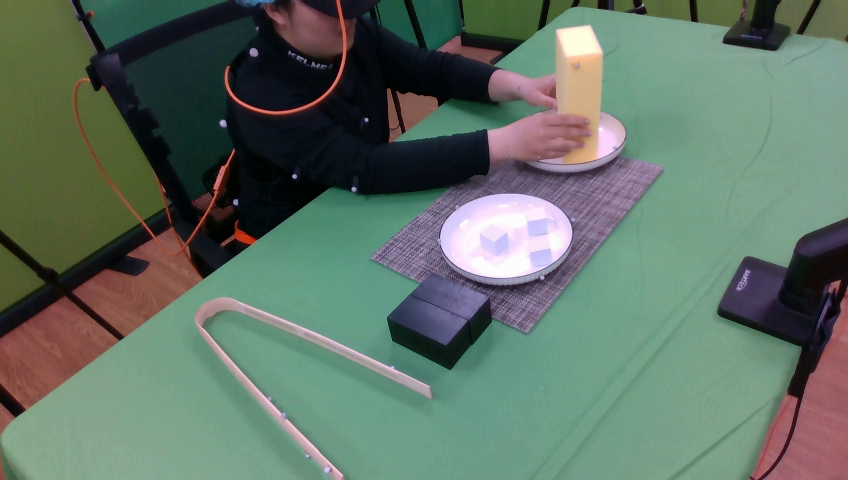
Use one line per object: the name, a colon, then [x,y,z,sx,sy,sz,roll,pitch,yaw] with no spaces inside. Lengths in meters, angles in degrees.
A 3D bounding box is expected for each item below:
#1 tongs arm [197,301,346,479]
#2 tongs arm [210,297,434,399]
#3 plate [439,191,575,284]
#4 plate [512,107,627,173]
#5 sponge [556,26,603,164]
tongs arm: [-0.206,0.185,0.791,0.381,0.026,0.051,28,52,37]
tongs arm: [-0.153,0.143,0.837,0.385,0.028,0.028,16,49,28]
plate: [0.129,-0.001,0.942,0.207,0.039,0.206,-5,40,5]
plate: [0.269,-0.184,1.132,0.209,0.038,0.208,-5,40,5]
sponge: [0.271,-0.253,1.068,0.061,0.208,0.117,-6,41,7]
